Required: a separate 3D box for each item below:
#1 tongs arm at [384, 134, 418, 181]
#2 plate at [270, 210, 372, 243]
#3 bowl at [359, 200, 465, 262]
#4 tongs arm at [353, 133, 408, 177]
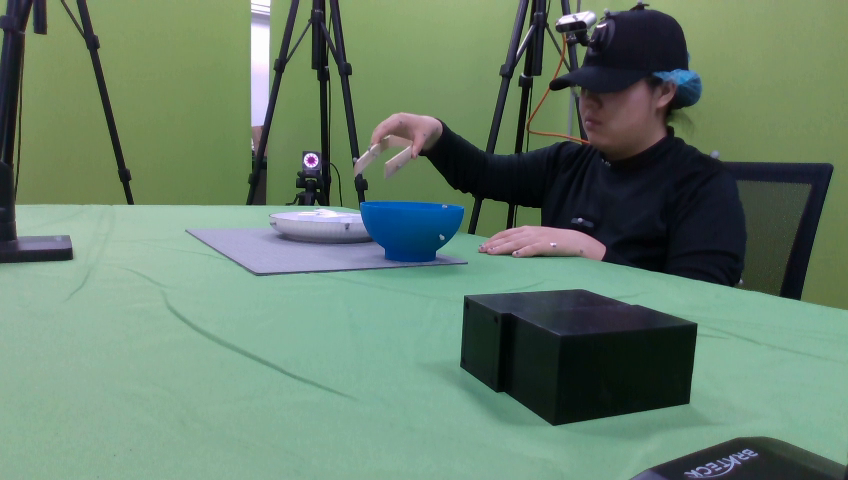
[{"bbox_3d":[-0.040,-0.153,1.077,0.028,0.028,0.387,3,17,5],"label":"tongs arm"},{"bbox_3d":[-0.161,-0.023,1.054,0.208,0.039,0.207,2,7,0],"label":"plate"},{"bbox_3d":[-0.018,-0.013,0.859,0.151,0.077,0.151,2,7,0],"label":"bowl"},{"bbox_3d":[-0.069,-0.157,1.079,0.051,0.026,0.384,6,17,2],"label":"tongs arm"}]
